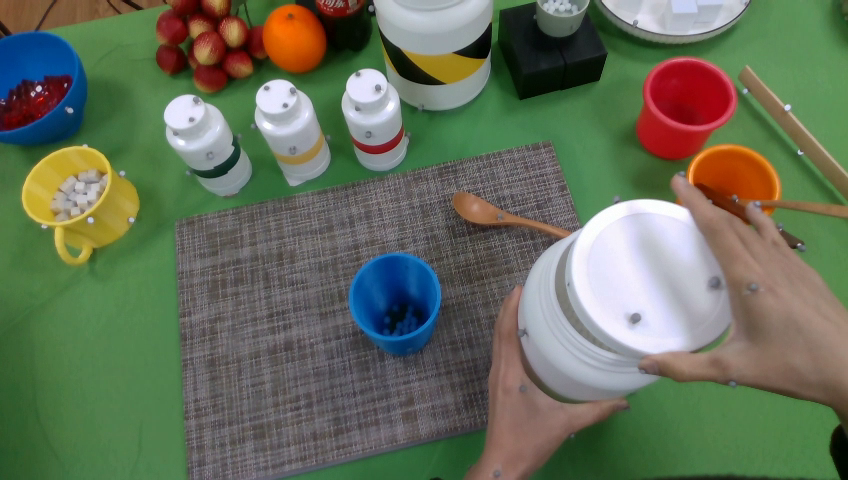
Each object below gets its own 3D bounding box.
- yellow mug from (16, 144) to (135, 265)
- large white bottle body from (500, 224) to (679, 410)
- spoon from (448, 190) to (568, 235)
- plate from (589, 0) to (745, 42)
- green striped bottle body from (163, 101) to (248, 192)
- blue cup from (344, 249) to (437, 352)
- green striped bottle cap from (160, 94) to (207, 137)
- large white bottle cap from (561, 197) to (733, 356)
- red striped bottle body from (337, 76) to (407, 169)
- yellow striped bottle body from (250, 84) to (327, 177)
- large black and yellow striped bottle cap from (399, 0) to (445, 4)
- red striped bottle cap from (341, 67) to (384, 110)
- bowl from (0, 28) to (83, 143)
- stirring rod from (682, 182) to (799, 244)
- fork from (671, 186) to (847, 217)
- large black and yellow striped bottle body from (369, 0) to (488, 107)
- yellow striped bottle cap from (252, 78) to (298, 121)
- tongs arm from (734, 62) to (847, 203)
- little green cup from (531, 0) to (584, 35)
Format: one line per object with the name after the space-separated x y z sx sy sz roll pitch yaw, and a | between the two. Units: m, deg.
-0.392 -0.036 0.680 0.100 0.064 0.130 -3 67 1 | yellow mug
0.140 0.067 0.517 0.131 0.186 0.129 0 66 -1 | large white bottle body
0.118 -0.017 0.663 0.193 0.022 0.041 17 44 10 | spoon
0.308 -0.335 0.785 0.209 0.038 0.207 -1 67 3 | plate
-0.245 -0.108 0.674 0.063 0.120 0.062 -1 66 3 | green striped bottle body
-0.028 0.068 0.592 0.092 0.101 0.092 -1 66 2 | blue cup
-0.249 -0.129 0.626 0.044 0.020 0.044 -1 65 2 | green striped bottle cap
0.153 0.023 0.419 0.115 0.018 0.114 0 66 1 | large white bottle cap
-0.058 -0.135 0.676 0.063 0.120 0.062 -3 65 7 | red striped bottle body
-0.152 -0.125 0.676 0.063 0.121 0.062 -2 67 4 | yellow striped bottle body
0.001 -0.287 0.610 0.115 0.019 0.114 -2 66 4 | large black and yellow striped bottle cap
-0.063 -0.157 0.627 0.044 0.018 0.044 0 64 -1 | red striped bottle cap
-0.480 -0.173 0.739 0.151 0.077 0.150 -1 67 2 | bowl
0.307 -0.031 0.600 0.014 0.006 0.174 -10 23 -4 | stirring rod
0.337 -0.036 0.593 0.028 0.019 0.205 -50 29 -16 | fork
0.007 -0.254 0.688 0.131 0.185 0.130 -1 66 3 | large black and yellow striped bottle body
-0.155 -0.146 0.629 0.044 0.019 0.044 -1 68 2 | yellow striped bottle cap
0.477 -0.058 0.656 0.051 0.027 0.381 -24 68 -9 | tongs arm
0.155 -0.274 0.712 0.061 0.039 0.061 -1 65 2 | little green cup
